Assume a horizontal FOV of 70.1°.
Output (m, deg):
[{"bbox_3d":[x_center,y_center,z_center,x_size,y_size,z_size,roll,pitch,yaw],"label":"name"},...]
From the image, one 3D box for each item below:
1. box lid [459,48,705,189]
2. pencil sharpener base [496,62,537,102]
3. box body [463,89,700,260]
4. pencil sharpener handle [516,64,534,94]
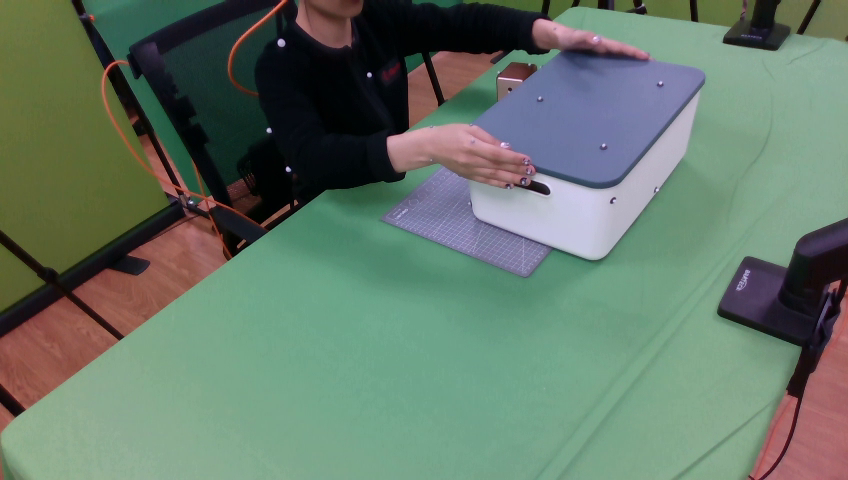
[{"bbox_3d":[0.256,-0.209,0.953,0.261,0.015,0.372,23,49,31],"label":"box lid"},{"bbox_3d":[0.190,-0.296,1.225,0.061,0.107,0.077,14,45,27],"label":"pencil sharpener base"},{"bbox_3d":[0.264,-0.152,1.000,0.252,0.161,0.365,22,49,32],"label":"box body"},{"bbox_3d":[0.214,-0.337,1.249,0.036,0.068,0.031,12,44,29],"label":"pencil sharpener handle"}]
